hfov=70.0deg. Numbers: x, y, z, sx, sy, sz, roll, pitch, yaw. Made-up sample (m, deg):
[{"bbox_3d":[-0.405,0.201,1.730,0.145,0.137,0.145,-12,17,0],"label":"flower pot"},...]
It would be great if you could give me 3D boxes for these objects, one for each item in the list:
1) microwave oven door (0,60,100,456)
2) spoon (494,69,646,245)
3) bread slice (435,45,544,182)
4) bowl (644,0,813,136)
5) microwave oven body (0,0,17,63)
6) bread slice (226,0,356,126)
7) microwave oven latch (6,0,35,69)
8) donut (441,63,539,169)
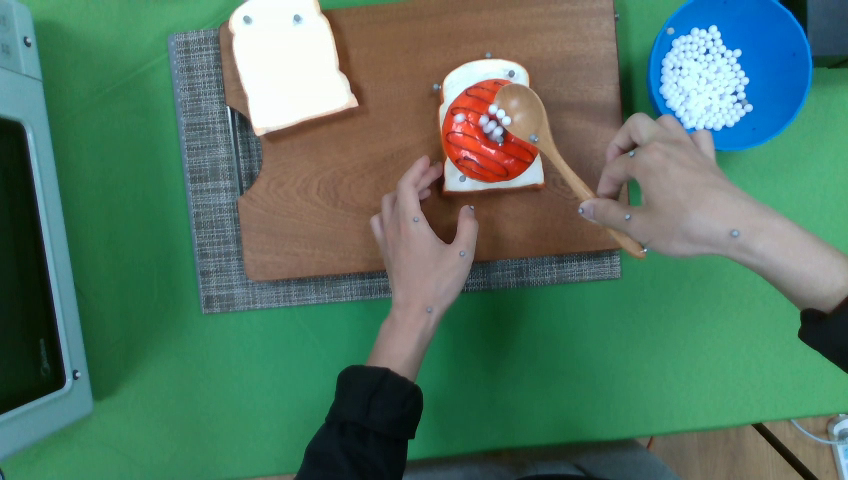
[{"bbox_3d":[-0.394,0.008,0.524,0.039,0.243,0.356,-9,93,2],"label":"microwave oven door"},{"bbox_3d":[0.117,-0.070,0.499,0.042,0.022,0.192,-47,60,30],"label":"spoon"},{"bbox_3d":[0.062,-0.126,0.604,0.105,0.019,0.131,-7,95,1],"label":"bread slice"},{"bbox_3d":[0.282,-0.173,0.593,0.151,0.077,0.151,0,94,2],"label":"bowl"},{"bbox_3d":[-0.545,-0.013,0.531,0.326,0.260,0.442,-8,94,1],"label":"microwave oven body"},{"bbox_3d":[-0.140,-0.190,0.604,0.107,0.018,0.134,-20,92,2],"label":"bread slice"},{"bbox_3d":[-0.420,-0.214,0.611,0.030,0.029,0.079,-8,94,1],"label":"microwave oven latch"},{"bbox_3d":[0.065,-0.116,0.575,0.099,0.048,0.099,0,95,1],"label":"donut"}]
